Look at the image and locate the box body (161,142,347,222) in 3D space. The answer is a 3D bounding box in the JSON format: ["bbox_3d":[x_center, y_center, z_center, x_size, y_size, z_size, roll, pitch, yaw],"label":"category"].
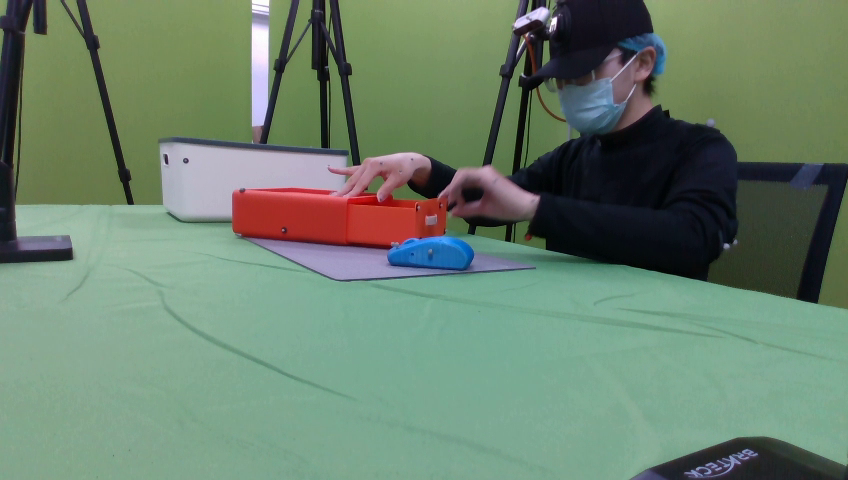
[{"bbox_3d":[-0.380,-0.132,1.352,0.366,0.160,0.253,-2,9,-30],"label":"box body"}]

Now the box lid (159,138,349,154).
[{"bbox_3d":[-0.376,-0.206,1.344,0.373,0.015,0.262,-1,8,-30],"label":"box lid"}]

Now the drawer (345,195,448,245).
[{"bbox_3d":[-0.082,-0.042,1.029,0.211,0.073,0.195,4,9,16],"label":"drawer"}]

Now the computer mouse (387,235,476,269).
[{"bbox_3d":[0.010,0.014,0.805,0.117,0.041,0.063,-1,8,10],"label":"computer mouse"}]

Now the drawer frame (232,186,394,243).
[{"bbox_3d":[-0.186,-0.049,1.059,0.213,0.082,0.202,4,8,17],"label":"drawer frame"}]
